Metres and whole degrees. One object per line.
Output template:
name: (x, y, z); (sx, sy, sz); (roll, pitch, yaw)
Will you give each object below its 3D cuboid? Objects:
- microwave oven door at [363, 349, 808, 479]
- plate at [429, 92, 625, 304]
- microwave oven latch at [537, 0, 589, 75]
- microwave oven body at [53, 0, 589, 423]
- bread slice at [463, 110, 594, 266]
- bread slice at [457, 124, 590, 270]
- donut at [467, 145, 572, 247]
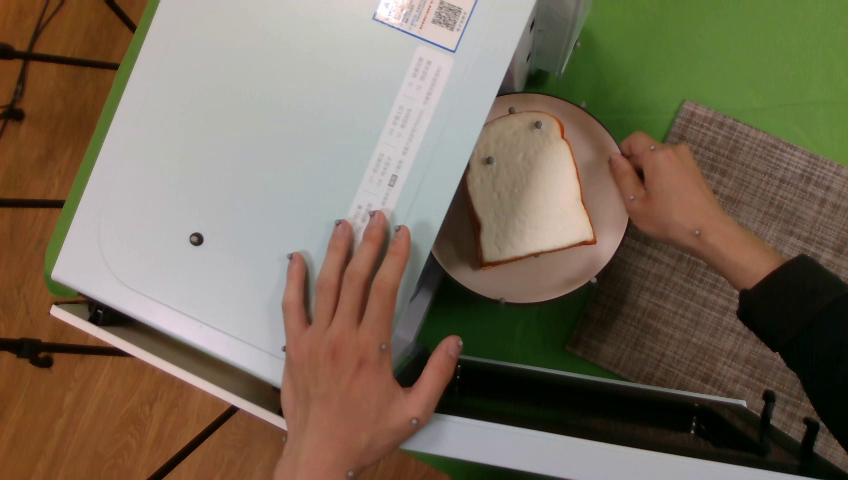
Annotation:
microwave oven door: (0.144, 0.157, 0.537); (0.355, 0.244, 0.039); (7, 89, 8)
plate: (0.090, -0.040, 0.602); (0.207, 0.039, 0.207); (0, 89, 5)
microwave oven latch: (0.147, -0.218, 0.641); (0.030, 0.029, 0.079); (24, 93, 7)
microwave oven body: (-0.071, -0.116, 0.570); (0.325, 0.260, 0.441); (23, 93, 6)
bread slice: (0.085, -0.050, 0.544); (0.105, 0.019, 0.131); (-14, 85, 9)
bread slice: (0.089, -0.046, 0.599); (0.107, 0.018, 0.134); (-20, 85, 4)
donut: (0.089, -0.041, 0.574); (0.099, 0.048, 0.099); (0, 89, 4)
